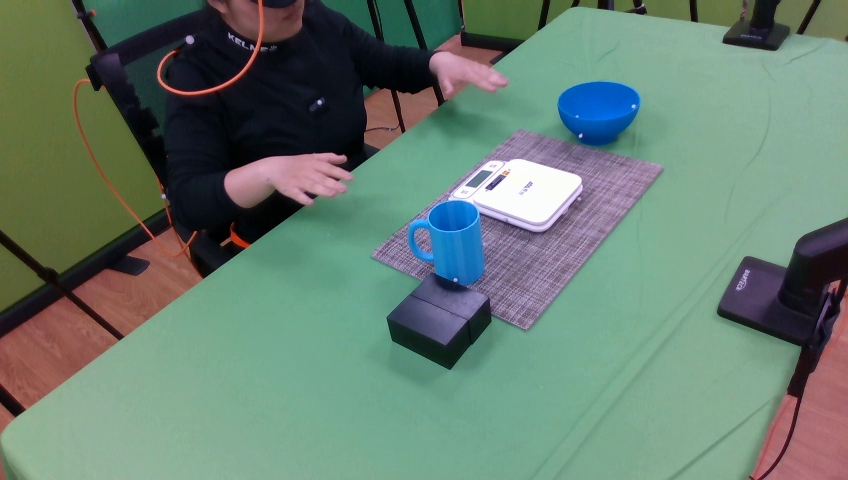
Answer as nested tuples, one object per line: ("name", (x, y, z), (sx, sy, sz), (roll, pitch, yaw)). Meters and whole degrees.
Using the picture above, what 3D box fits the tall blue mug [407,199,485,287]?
("tall blue mug", (0.034, 0.008, 0.892), (0.107, 0.108, 0.077), (-13, 41, -5))

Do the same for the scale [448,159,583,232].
("scale", (0.156, -0.085, 1.039), (0.199, 0.032, 0.149), (22, 49, 32))

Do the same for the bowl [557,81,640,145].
("bowl", (0.330, -0.233, 1.152), (0.151, 0.077, 0.150), (-5, 40, 5))
